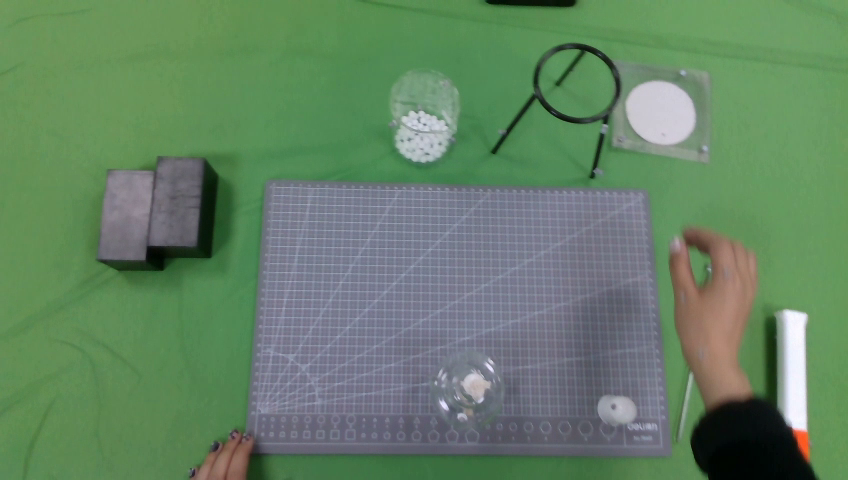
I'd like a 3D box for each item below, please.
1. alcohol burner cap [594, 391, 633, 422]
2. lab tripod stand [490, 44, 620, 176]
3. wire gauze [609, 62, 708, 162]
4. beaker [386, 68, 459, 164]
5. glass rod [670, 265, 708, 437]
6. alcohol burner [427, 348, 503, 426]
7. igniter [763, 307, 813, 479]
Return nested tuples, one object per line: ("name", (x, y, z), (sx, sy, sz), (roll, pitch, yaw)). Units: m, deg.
("alcohol burner cap", (0.202, 0.176, 0.640), (0.034, 0.048, 0.033), (1, 74, -2))
("lab tripod stand", (0.151, -0.146, 0.673), (0.148, 0.132, 0.147), (1, 74, -1))
("wire gauze", (0.290, -0.162, 0.750), (0.125, 0.011, 0.121), (8, 75, 1))
("beaker", (-0.001, -0.132, 0.679), (0.074, 0.100, 0.083), (-42, 82, -12))
("glass rod", (0.298, 0.121, 0.679), (0.008, 0.008, 0.199), (17, 76, 1))
("alcohol burner", (0.043, 0.145, 0.601), (0.078, 0.119, 0.077), (1, 73, -3))
("igniter", (0.391, 0.210, 0.652), (0.057, 0.025, 0.275), (11, 75, -12))
